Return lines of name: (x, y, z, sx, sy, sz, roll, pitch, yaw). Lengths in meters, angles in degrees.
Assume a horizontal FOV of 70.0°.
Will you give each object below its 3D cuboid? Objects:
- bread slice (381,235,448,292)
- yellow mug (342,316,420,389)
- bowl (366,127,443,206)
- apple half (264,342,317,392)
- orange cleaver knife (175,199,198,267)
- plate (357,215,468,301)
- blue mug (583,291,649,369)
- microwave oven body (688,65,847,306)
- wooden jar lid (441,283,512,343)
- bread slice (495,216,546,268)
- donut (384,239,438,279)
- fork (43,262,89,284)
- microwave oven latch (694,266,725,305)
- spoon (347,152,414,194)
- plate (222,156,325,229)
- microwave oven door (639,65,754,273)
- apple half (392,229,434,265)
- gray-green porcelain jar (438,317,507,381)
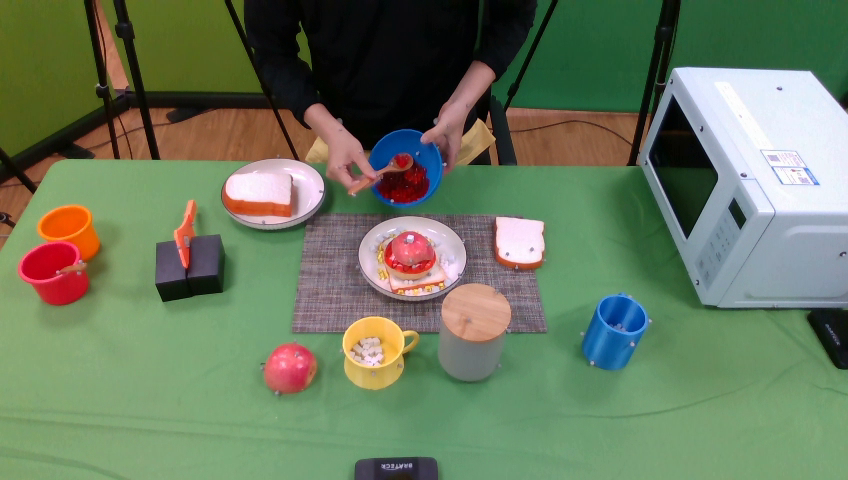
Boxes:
bread slice: (-0.027, 0.039, 1.140, 0.107, 0.018, 0.133, -12, 48, -16)
yellow mug: (-0.067, 0.178, 0.990, 0.131, 0.064, 0.099, -16, 49, -19)
bowl: (-0.027, -0.134, 1.165, 0.151, 0.077, 0.151, -2, 83, 18)
apple half: (-0.214, 0.198, 0.970, 0.074, 0.053, 0.080, 19, 48, 10)
orange cleaver knife: (-0.438, -0.017, 1.138, 0.012, 0.077, 0.210, -14, 27, -7)
plate: (-0.022, 0.037, 1.141, 0.208, 0.039, 0.206, 2, 46, -2)
blue mug: (0.324, 0.142, 1.023, 0.082, 0.106, 0.116, 15, 47, 11)
microwave oven body: (0.669, -0.111, 1.176, 0.326, 0.261, 0.439, 0, 46, -3)
wooden jar lid: (0.080, 0.114, 0.931, 0.108, 0.021, 0.107, 1, 48, -1)
bread slice: (0.194, 0.002, 1.205, 0.105, 0.019, 0.131, 5, 45, 2)
donut: (-0.025, 0.030, 1.110, 0.099, 0.048, 0.098, 3, 45, -3)
fork: (-0.599, 0.053, 1.013, 0.207, 0.019, 0.028, -14, 30, 45)
microwave oven latch: (0.523, 0.082, 1.115, 0.030, 0.029, 0.078, 3, 46, 0)
spoon: (-0.080, -0.124, 1.112, 0.041, 0.022, 0.193, 35, 37, 16)
plate: (-0.308, -0.095, 1.251, 0.209, 0.038, 0.208, 3, 47, -3)
microwave oven door: (0.522, -0.147, 1.193, 0.039, 0.245, 0.353, 0, 47, -3)
apple half: (-0.021, 0.005, 1.083, 0.081, 0.033, 0.081, 7, 49, -7)
gray-green porcelain jar: (0.076, 0.158, 0.977, 0.106, 0.127, 0.105, 2, 47, -2)
